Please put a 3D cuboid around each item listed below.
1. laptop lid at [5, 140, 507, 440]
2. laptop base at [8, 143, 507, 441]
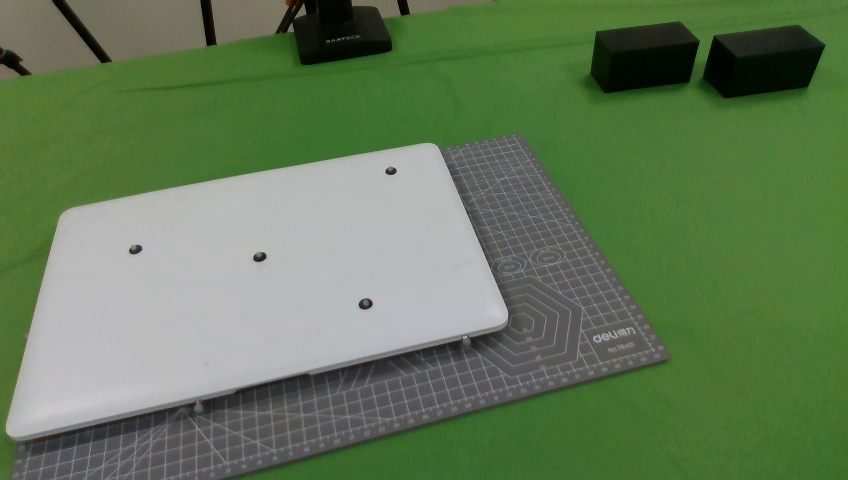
[{"bbox_3d":[-0.133,0.016,0.495,0.357,0.013,0.239,-11,47,-7],"label":"laptop lid"},{"bbox_3d":[-0.133,0.023,0.505,0.355,0.023,0.233,-12,48,-8],"label":"laptop base"}]
